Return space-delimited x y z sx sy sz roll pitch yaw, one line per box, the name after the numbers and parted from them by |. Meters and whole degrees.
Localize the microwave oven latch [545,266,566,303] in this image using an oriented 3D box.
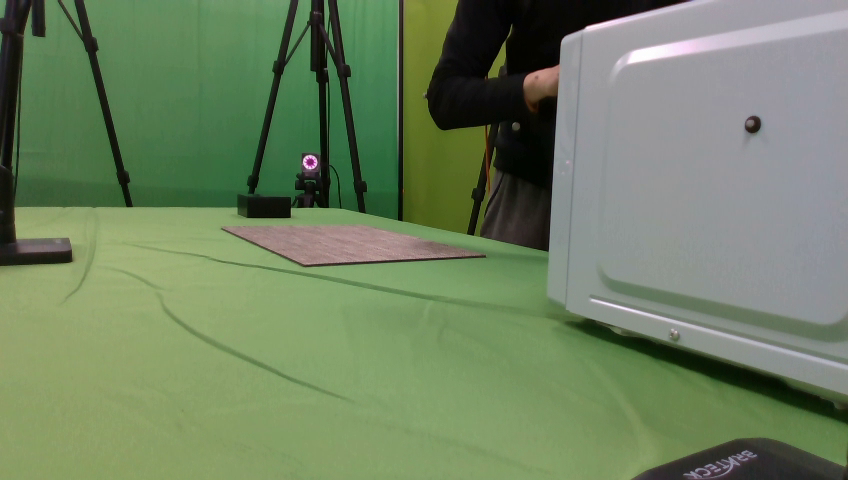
0.148 0.039 0.555 0.079 0.029 0.030 -1 7 -28 | microwave oven latch

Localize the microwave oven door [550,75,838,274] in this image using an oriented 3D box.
0.350 -0.092 0.838 0.354 0.243 0.039 6 8 35 | microwave oven door

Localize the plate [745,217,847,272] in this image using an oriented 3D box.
0.407 0.005 0.553 0.209 0.038 0.209 3 6 0 | plate

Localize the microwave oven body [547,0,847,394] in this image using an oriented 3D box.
0.378 -0.046 0.510 0.444 0.260 0.324 -2 7 -31 | microwave oven body
